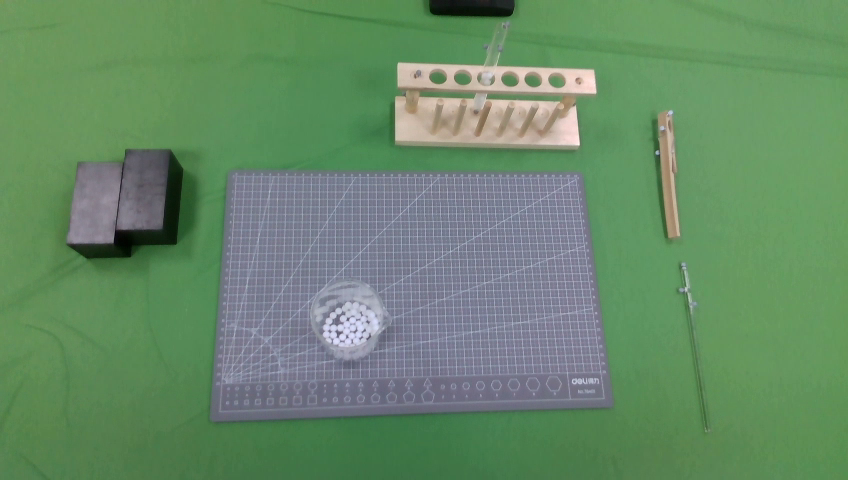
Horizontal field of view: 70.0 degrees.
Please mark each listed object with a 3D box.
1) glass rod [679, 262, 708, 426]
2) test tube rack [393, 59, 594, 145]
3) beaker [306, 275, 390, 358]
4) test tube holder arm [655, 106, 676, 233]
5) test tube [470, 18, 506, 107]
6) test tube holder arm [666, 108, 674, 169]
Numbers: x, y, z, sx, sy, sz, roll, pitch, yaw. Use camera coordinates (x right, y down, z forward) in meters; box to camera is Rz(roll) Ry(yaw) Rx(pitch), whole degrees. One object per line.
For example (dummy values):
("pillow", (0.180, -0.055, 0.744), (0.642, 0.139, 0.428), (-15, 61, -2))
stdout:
("glass rod", (0.324, 0.121, 0.732), (0.008, 0.008, 0.198), (1, 72, -5))
("test tube rack", (0.083, -0.172, 0.765), (0.243, 0.085, 0.066), (1, 71, -5))
("beaker", (-0.080, 0.086, 0.653), (0.084, 0.100, 0.073), (8, 71, -3))
("test tube holder arm", (0.317, -0.094, 0.794), (0.013, 0.015, 0.177), (16, 68, -31))
("test tube", (0.074, -0.207, 0.723), (0.017, 0.151, 0.017), (2, 67, -6))
("test tube holder arm", (0.324, -0.135, 0.811), (0.010, 0.015, 0.087), (16, 68, -30))
